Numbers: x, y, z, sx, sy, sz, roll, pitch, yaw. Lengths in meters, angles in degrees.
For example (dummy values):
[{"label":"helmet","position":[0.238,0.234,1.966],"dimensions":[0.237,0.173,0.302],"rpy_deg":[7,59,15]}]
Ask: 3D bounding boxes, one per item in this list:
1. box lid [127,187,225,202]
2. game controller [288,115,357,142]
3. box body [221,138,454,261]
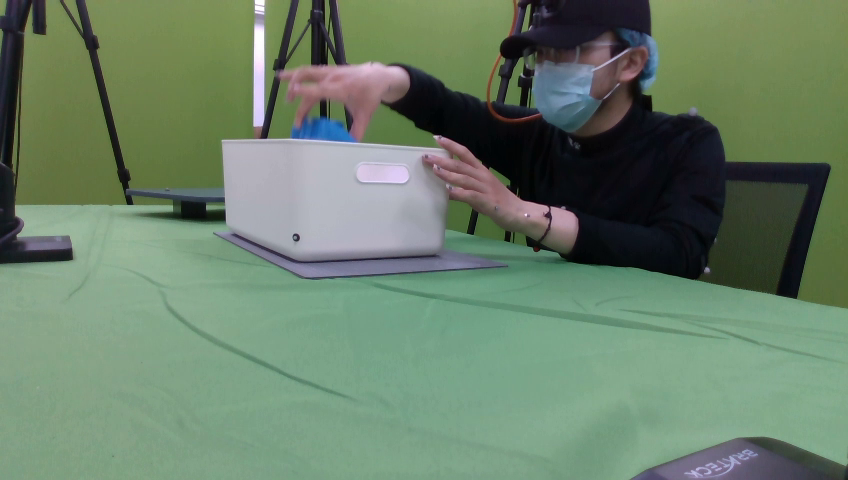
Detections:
[{"label":"box lid","position":[-0.449,-0.106,1.393],"dimensions":[0.262,0.015,0.373],"rpy_deg":[6,8,28]},{"label":"game controller","position":[-0.156,-0.164,0.952],"dimensions":[0.097,0.051,0.154],"rpy_deg":[17,-4,-22]},{"label":"box body","position":[-0.152,-0.074,0.963],"dimensions":[0.255,0.160,0.362],"rpy_deg":[-3,9,-33]}]
